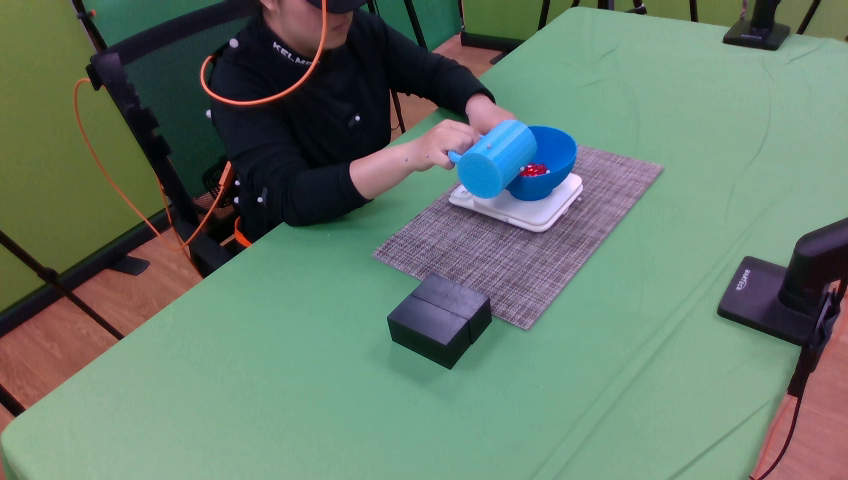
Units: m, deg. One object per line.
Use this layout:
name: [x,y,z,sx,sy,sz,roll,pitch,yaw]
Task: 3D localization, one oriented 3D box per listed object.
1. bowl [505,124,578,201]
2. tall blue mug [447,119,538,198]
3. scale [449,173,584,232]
bowl: [0.176,-0.117,0.991,0.151,0.077,0.150,-6,41,5]
tall blue mug: [0.097,-0.130,0.886,0.107,0.077,0.108,41,51,6]
scale: [0.156,-0.085,1.040,0.199,0.032,0.149,22,49,32]
